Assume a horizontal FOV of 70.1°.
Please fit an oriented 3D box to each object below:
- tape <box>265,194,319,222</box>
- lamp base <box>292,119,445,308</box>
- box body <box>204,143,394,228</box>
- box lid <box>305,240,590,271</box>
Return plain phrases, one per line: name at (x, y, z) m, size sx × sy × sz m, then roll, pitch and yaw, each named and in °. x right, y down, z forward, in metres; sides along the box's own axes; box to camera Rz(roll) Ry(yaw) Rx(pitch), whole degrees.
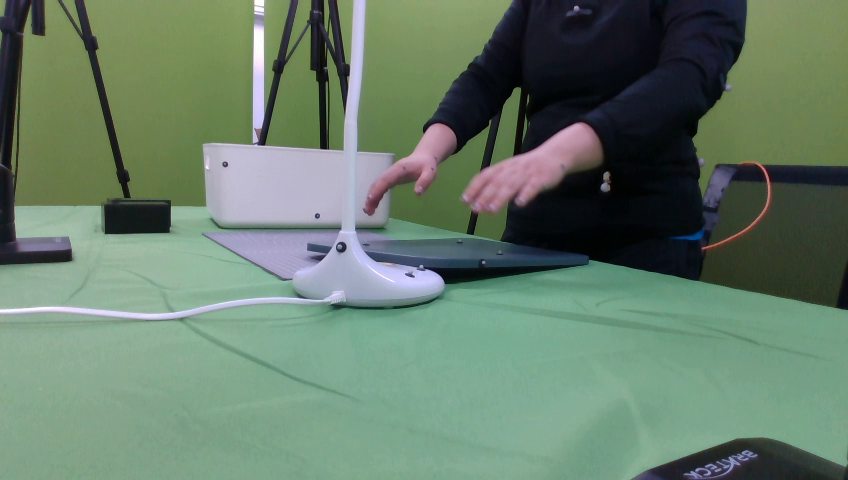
tape at (-0.284, -0.069, 1.298) m, size 0.117 × 0.052 × 0.117 m, roll 3°, pitch 7°, yaw 0°
lamp base at (-0.056, -0.030, 0.616) m, size 0.160 × 0.180 × 0.179 m, roll 4°, pitch 10°, yaw 8°
box body at (-0.271, -0.117, 1.291) m, size 0.366 × 0.160 × 0.253 m, roll -1°, pitch 8°, yaw -25°
box lid at (0.042, 0.018, 0.879) m, size 0.262 × 0.015 × 0.374 m, roll 7°, pitch 5°, yaw 44°
